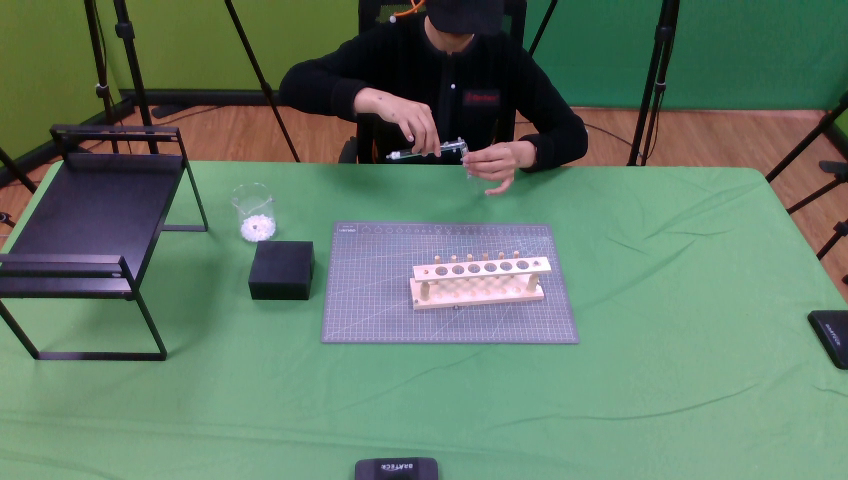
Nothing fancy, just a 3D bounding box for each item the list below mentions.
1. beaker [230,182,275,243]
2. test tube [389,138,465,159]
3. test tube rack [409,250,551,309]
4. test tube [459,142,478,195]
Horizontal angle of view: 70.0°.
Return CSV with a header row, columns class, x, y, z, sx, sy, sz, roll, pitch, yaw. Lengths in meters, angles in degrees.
class,x,y,z,sx,sy,sz,roll,pitch,yaw
beaker,-0.328,-0.049,1.166,0.074,0.101,0.083,2,47,-2
test tube,0.006,-0.173,1.146,0.150,0.017,0.017,-12,49,-16
test tube rack,0.098,0.065,1.096,0.243,0.085,0.066,-4,47,-8
test tube,0.092,-0.143,1.228,0.017,0.151,0.017,-8,53,11
